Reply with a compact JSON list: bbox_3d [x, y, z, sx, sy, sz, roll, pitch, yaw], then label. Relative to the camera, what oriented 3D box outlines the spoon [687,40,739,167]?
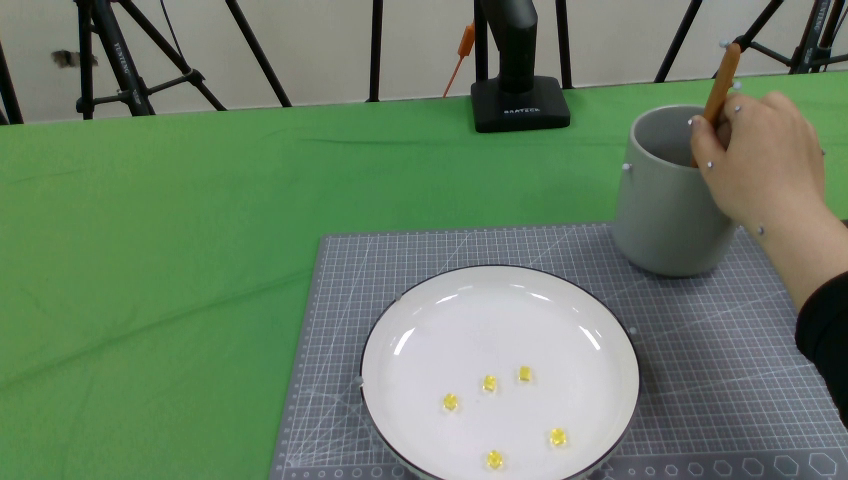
[{"bbox_3d":[0.224,-0.071,0.494,0.021,0.196,0.041,-16,48,-5],"label":"spoon"}]

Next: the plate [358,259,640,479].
[{"bbox_3d":[0.055,0.098,0.467,0.207,0.039,0.205,-3,42,3],"label":"plate"}]

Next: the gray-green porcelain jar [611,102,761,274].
[{"bbox_3d":[0.226,-0.042,0.541,0.106,0.128,0.105,-3,42,3],"label":"gray-green porcelain jar"}]
